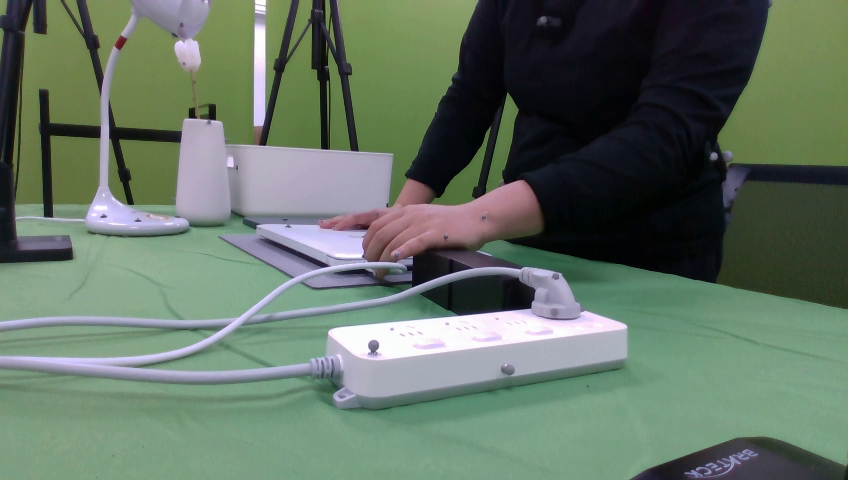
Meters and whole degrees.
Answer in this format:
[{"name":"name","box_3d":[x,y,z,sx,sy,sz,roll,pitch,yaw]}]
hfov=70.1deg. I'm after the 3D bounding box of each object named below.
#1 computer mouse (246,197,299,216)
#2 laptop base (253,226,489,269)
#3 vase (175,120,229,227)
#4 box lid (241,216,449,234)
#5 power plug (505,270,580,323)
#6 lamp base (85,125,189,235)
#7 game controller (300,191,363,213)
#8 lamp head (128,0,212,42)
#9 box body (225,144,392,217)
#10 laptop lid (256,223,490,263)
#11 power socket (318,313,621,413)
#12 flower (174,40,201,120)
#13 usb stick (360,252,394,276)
[{"name":"computer mouse","box_3d":[-0.355,-0.081,1.417,0.117,0.041,0.063,2,11,8]},{"name":"laptop base","box_3d":[-0.096,0.011,0.910,0.237,0.023,0.352,3,6,-32]},{"name":"vase","box_3d":[-0.425,-0.127,1.158,0.098,0.200,0.098,2,9,0]},{"name":"box lid","box_3d":[-0.162,-0.030,1.233,0.373,0.015,0.262,-1,8,-32]},{"name":"power plug","box_3d":[0.092,0.051,0.469,0.035,0.052,0.072,-1,6,-15]},{"name":"lamp base","box_3d":[-0.498,-0.105,1.026,0.179,0.180,0.160,1,7,3]},{"name":"game controller","box_3d":[-0.240,-0.098,1.549,0.155,0.051,0.097,2,9,5]},{"name":"lamp head","box_3d":[-0.423,-0.394,0.979,0.123,0.112,0.112,20,7,-3]},{"name":"box body","box_3d":[-0.289,-0.143,1.474,0.366,0.160,0.253,-1,9,-29]},{"name":"laptop lid","box_3d":[-0.093,0.001,0.911,0.243,0.013,0.355,2,7,-30]},{"name":"power socket","box_3d":[0.037,0.076,0.408,0.228,0.032,0.072,-1,8,-29]},{"name":"flower","box_3d":[-0.430,-0.211,1.165,0.044,0.361,0.038,-10,-5,-22]},{"name":"usb stick","box_3d":[-0.057,0.027,0.701,0.021,0.027,0.059,0,-1,-30]}]
